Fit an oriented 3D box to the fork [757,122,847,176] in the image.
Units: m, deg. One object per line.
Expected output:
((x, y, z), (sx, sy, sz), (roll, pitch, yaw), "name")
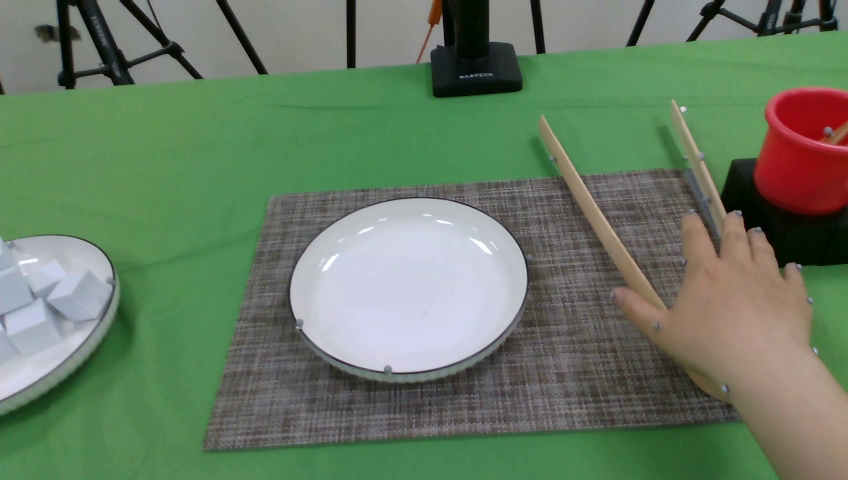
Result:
((0.380, -0.108, 0.499), (0.207, 0.019, 0.028), (-35, 12, 28), "fork")

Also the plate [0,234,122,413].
((-0.372, 0.077, 0.537), (0.209, 0.038, 0.207), (-3, 43, 3), "plate")

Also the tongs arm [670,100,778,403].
((0.261, -0.021, 0.575), (0.051, 0.027, 0.381), (0, 44, 3), "tongs arm")

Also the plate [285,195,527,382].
((-0.015, 0.040, 0.535), (0.207, 0.039, 0.205), (-3, 44, 3), "plate")

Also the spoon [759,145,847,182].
((0.353, -0.077, 0.468), (0.041, 0.193, 0.021), (-29, 90, -29), "spoon")

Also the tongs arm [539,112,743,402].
((0.178, -0.014, 0.576), (0.028, 0.028, 0.383), (-7, 44, -9), "tongs arm")
